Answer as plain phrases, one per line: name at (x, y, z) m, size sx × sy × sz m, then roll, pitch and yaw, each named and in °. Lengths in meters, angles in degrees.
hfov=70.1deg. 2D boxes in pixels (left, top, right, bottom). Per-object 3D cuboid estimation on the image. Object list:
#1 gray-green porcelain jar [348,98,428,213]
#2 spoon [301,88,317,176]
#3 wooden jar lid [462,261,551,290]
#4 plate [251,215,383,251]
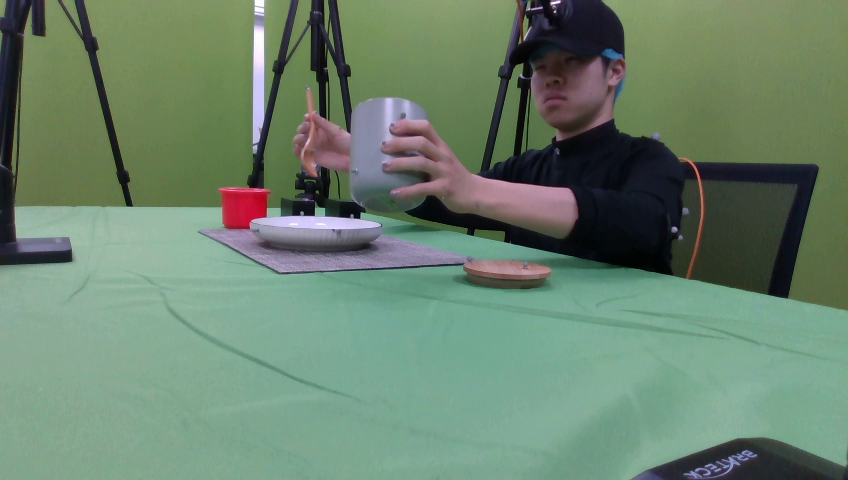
gray-green porcelain jar at (-0.047, -0.106, 0.800) m, size 0.106 × 0.126 × 0.106 m, roll 0°, pitch -17°, yaw 0°
spoon at (-0.201, -0.195, 1.075) m, size 0.021 × 0.193 × 0.042 m, roll -14°, pitch -29°, yaw 21°
wooden jar lid at (0.100, 0.043, 0.742) m, size 0.108 × 0.020 × 0.108 m, roll 2°, pitch 6°, yaw 0°
plate at (-0.170, -0.012, 0.971) m, size 0.208 × 0.039 × 0.207 m, roll 2°, pitch 7°, yaw 0°
